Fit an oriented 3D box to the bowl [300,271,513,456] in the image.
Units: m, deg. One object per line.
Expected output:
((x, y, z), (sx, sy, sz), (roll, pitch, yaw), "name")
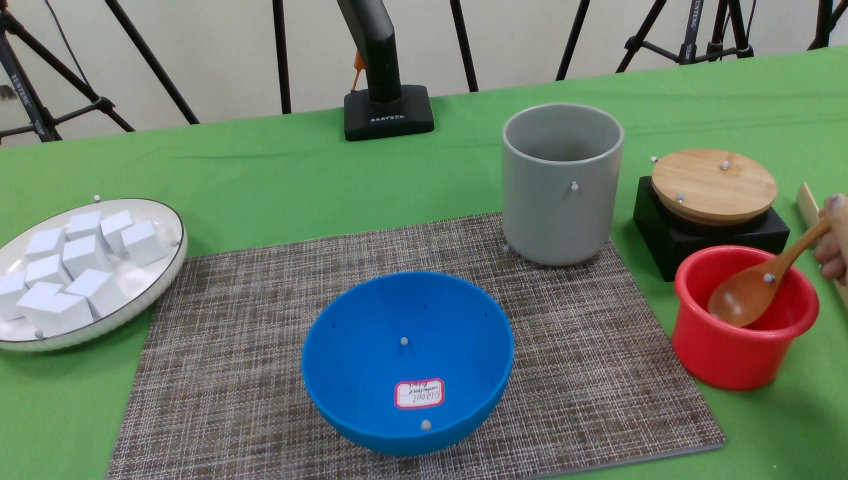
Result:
((-0.009, 0.102, 0.449), (0.151, 0.077, 0.150), (-3, 40, 3), "bowl")

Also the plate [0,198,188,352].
((-0.337, 0.033, 0.603), (0.209, 0.038, 0.207), (-4, 40, 4), "plate")

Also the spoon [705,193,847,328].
((0.276, -0.001, 0.432), (0.022, 0.194, 0.041), (7, 45, -26), "spoon")

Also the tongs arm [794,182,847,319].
((0.365, 0.074, 0.483), (0.028, 0.028, 0.384), (3, 41, 7), "tongs arm")

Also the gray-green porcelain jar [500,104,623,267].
((0.125, -0.047, 0.570), (0.106, 0.128, 0.105), (-3, 40, 3), "gray-green porcelain jar")

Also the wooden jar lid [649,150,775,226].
((0.267, -0.048, 0.567), (0.108, 0.021, 0.107), (-4, 40, 4), "wooden jar lid")
